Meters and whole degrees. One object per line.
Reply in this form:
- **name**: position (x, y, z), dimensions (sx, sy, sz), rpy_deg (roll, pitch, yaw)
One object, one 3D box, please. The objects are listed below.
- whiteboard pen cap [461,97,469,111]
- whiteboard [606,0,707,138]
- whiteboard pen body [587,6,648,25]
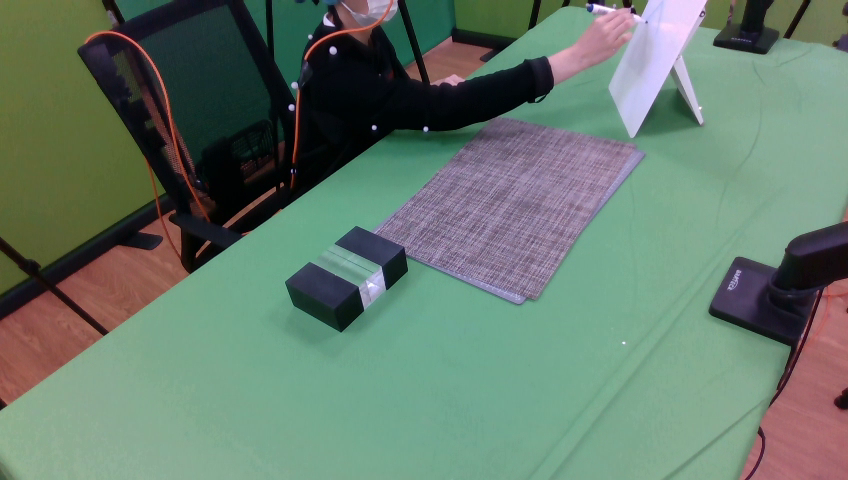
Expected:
- **whiteboard pen cap**: position (0.087, -0.289, 1.286), dimensions (0.018, 0.018, 0.033), rpy_deg (-5, 44, 3)
- **whiteboard**: position (0.496, -0.359, 1.147), dimensions (0.144, 0.305, 0.216), rpy_deg (11, 40, -7)
- **whiteboard pen body**: position (0.370, -0.424, 1.148), dimensions (0.142, 0.017, 0.017), rpy_deg (4, 36, -22)
